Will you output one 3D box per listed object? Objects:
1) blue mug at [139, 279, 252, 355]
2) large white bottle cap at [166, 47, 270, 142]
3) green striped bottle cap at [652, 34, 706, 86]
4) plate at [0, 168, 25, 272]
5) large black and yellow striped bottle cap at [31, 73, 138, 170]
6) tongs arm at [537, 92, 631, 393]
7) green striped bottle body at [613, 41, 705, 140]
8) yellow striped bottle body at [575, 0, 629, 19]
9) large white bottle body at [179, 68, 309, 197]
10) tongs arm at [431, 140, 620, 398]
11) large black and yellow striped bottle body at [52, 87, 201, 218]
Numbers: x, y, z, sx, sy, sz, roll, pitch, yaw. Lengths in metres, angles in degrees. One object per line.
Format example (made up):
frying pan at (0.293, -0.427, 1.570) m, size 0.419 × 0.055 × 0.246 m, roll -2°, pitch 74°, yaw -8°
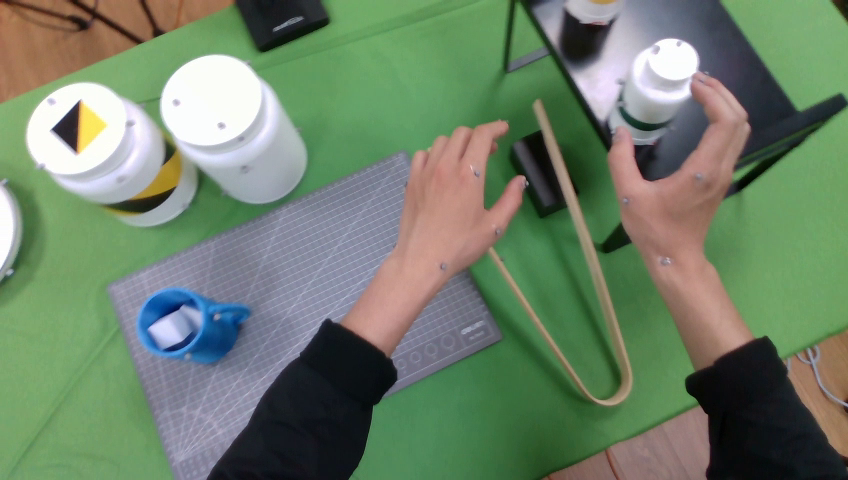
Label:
blue mug at (-0.273, 0.093, 0.754) m, size 0.116 × 0.106 × 0.082 m, roll -18°, pitch 75°, yaw -2°
large white bottle cap at (-0.235, -0.167, 0.691) m, size 0.115 × 0.018 × 0.114 m, roll 0°, pitch 75°, yaw 2°
green striped bottle cap at (0.232, -0.165, 0.553) m, size 0.044 × 0.020 × 0.044 m, roll -1°, pitch 76°, yaw 3°
plate at (-0.648, -0.016, 0.834) m, size 0.207 × 0.039 × 0.206 m, roll 0°, pitch 76°, yaw 2°
large black and yellow striped bottle cap at (-0.387, -0.136, 0.691) m, size 0.115 × 0.019 × 0.114 m, roll 0°, pitch 76°, yaw 1°
tongs arm at (0.199, 0.000, 0.762) m, size 0.028 × 0.028 × 0.387 m, roll -16°, pitch 88°, yaw -10°
green striped bottle body at (0.234, -0.152, 0.603) m, size 0.063 × 0.120 × 0.063 m, roll -1°, pitch 75°, yaw 3°
yellow striped bottle body at (0.201, -0.296, 0.640) m, size 0.063 × 0.121 × 0.062 m, roll -1°, pitch 75°, yaw 2°
large white bottle body at (-0.230, -0.144, 0.773) m, size 0.130 × 0.185 × 0.130 m, roll 0°, pitch 75°, yaw 2°
tongs arm at (0.125, 0.034, 0.755) m, size 0.051 × 0.026 × 0.384 m, roll -29°, pitch 89°, yaw -7°
large black and yellow striped bottle body at (-0.382, -0.113, 0.772) m, size 0.131 × 0.185 × 0.130 m, roll -1°, pitch 75°, yaw 3°
